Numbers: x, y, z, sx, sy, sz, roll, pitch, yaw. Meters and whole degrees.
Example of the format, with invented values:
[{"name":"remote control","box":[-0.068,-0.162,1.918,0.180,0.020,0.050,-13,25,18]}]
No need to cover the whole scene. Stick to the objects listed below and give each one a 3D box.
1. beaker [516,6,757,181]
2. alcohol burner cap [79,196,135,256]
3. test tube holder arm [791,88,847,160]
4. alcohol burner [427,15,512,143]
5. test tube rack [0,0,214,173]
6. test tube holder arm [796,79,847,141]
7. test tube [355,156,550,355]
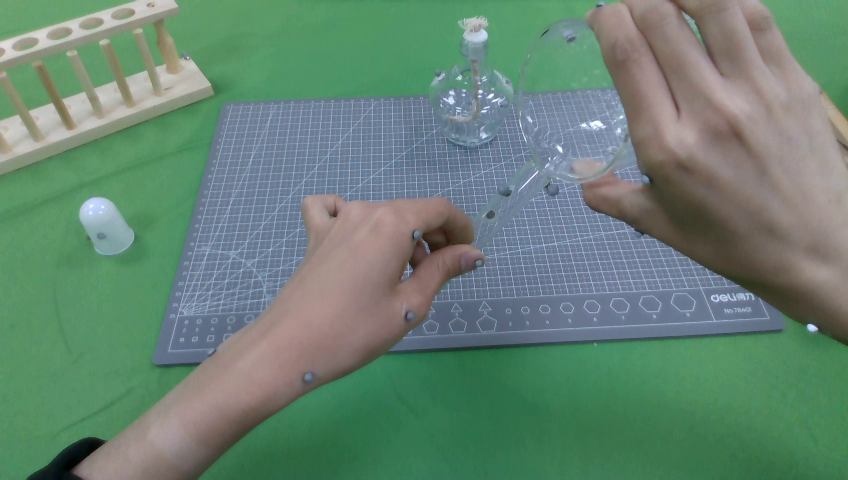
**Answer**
[{"name":"beaker","box":[0.107,-0.074,0.303,0.100,0.084,0.073,-17,58,-27]},{"name":"alcohol burner cap","box":[-0.257,-0.014,0.485,0.034,0.048,0.033,0,49,0]},{"name":"test tube holder arm","box":[0.334,-0.066,0.467,0.015,0.013,0.176,1,47,-7]},{"name":"alcohol burner","box":[0.042,-0.146,0.539,0.078,0.120,0.077,0,51,0]},{"name":"test tube rack","box":[-0.335,-0.146,0.568,0.242,0.086,0.066,-28,55,-21]},{"name":"test tube holder arm","box":[0.331,-0.103,0.493,0.015,0.010,0.087,1,48,-7]},{"name":"test tube","box":[0.012,0.013,0.333,0.150,0.017,0.017,-47,51,18]}]
